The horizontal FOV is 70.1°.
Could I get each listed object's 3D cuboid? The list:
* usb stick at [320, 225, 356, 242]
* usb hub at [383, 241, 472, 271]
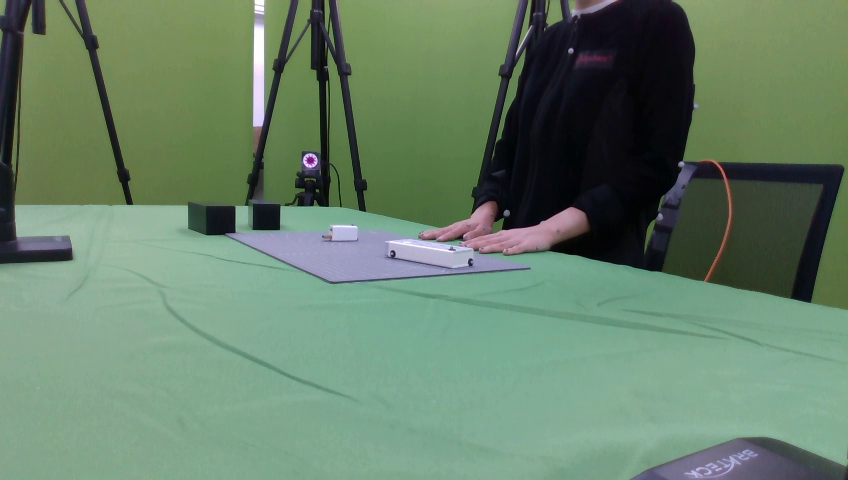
[{"bbox_3d":[-0.146,-0.010,1.017,0.059,0.027,0.021,-3,12,-26],"label":"usb stick"},{"bbox_3d":[0.003,0.020,0.842,0.124,0.025,0.050,8,9,39],"label":"usb hub"}]
